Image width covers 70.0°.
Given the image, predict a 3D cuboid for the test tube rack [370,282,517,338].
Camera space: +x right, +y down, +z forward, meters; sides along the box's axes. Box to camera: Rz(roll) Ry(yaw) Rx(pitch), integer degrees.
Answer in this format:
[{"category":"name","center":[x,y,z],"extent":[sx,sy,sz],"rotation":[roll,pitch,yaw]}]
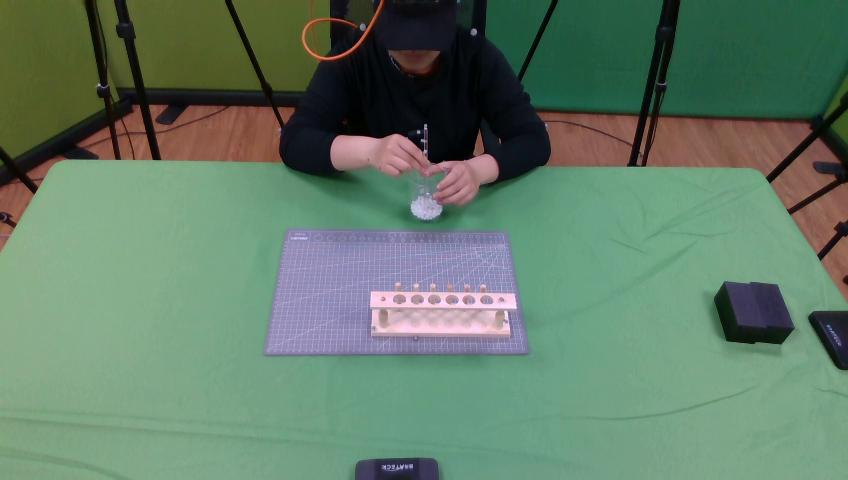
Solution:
[{"category":"test tube rack","center":[0.030,0.116,1.041],"extent":[0.242,0.085,0.066],"rotation":[1,46,-3]}]

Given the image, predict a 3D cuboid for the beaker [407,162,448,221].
[{"category":"beaker","center":[0.007,-0.096,1.219],"extent":[0.084,0.101,0.073],"rotation":[-15,49,-15]}]

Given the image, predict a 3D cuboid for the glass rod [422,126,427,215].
[{"category":"glass rod","center":[0.000,-0.129,1.175],"extent":[0.008,0.200,0.008],"rotation":[1,38,0]}]
